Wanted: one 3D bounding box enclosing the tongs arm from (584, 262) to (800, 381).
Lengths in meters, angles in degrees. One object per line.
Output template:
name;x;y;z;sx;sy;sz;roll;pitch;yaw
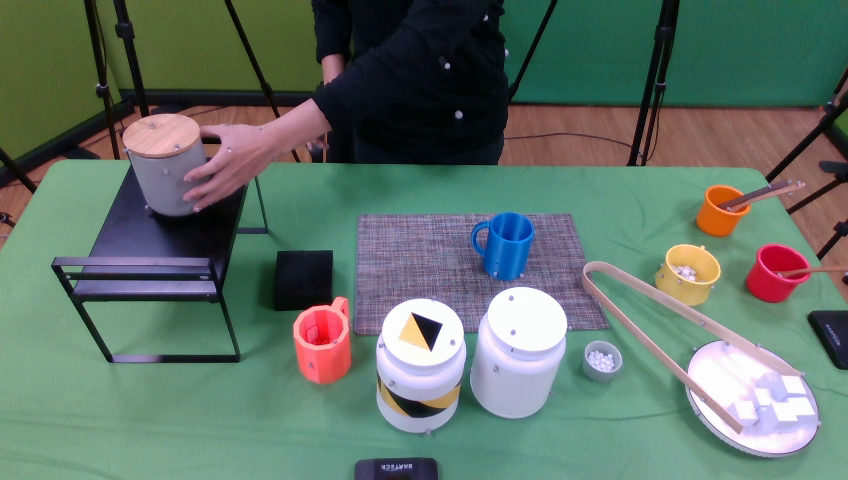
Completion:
tongs arm;0.452;0.137;1.064;0.051;0.027;0.382;-34;50;-27

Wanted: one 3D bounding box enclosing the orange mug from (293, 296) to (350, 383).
orange mug;-0.157;0.154;0.985;0.083;0.101;0.125;17;52;11

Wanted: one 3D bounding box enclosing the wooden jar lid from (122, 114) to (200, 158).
wooden jar lid;-0.390;-0.152;0.904;0.108;0.021;0.107;3;45;-3

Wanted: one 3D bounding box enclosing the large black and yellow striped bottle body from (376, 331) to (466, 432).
large black and yellow striped bottle body;-0.007;0.189;0.905;0.131;0.185;0.130;2;46;-2

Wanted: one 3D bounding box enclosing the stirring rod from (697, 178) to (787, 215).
stirring rod;0.650;-0.088;1.246;0.006;0.176;0.014;29;50;-39

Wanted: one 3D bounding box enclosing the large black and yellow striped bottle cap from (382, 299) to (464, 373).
large black and yellow striped bottle cap;-0.002;0.132;0.843;0.115;0.019;0.114;2;46;-1

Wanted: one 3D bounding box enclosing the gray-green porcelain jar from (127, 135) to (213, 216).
gray-green porcelain jar;-0.394;-0.109;0.949;0.106;0.127;0.105;3;46;-3

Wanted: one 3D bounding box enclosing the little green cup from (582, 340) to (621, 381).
little green cup;0.295;0.204;1.015;0.061;0.039;0.061;2;45;-2

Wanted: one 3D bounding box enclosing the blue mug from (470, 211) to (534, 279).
blue mug;0.141;0.005;1.140;0.116;0.106;0.082;18;48;13

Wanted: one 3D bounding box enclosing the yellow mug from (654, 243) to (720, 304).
yellow mug;0.504;0.054;1.154;0.099;0.064;0.130;28;50;22

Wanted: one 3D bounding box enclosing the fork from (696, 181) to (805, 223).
fork;0.659;-0.077;1.232;0.207;0.019;0.028;-26;35;34

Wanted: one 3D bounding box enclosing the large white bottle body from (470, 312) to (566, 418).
large white bottle body;0.143;0.173;0.930;0.131;0.185;0.130;2;46;-2

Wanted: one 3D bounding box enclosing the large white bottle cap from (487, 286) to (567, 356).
large white bottle cap;0.147;0.114;0.869;0.115;0.018;0.114;3;46;-3

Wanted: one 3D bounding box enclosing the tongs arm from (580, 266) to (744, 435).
tongs arm;0.384;0.174;1.028;0.028;0.028;0.385;-25;46;-14

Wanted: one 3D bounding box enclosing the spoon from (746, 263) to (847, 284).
spoon;0.696;0.057;1.113;0.193;0.022;0.041;-16;27;48

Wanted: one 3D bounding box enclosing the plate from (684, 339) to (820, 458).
plate;0.523;0.256;0.982;0.208;0.039;0.206;2;46;-2
